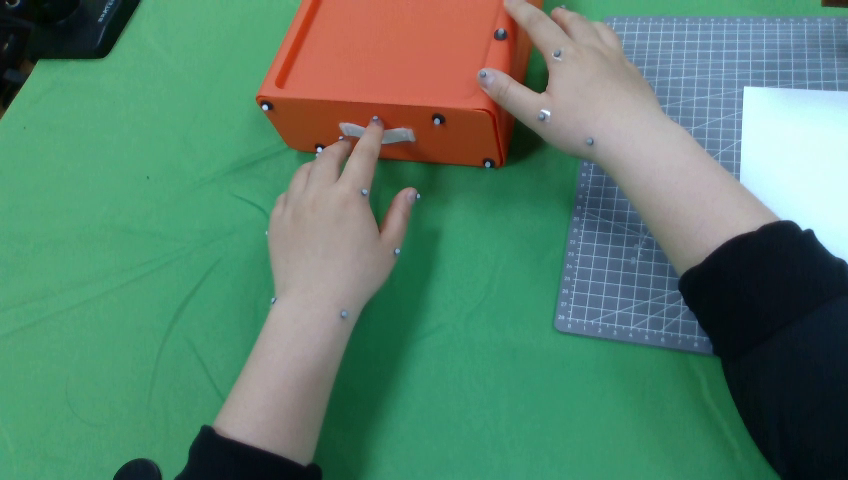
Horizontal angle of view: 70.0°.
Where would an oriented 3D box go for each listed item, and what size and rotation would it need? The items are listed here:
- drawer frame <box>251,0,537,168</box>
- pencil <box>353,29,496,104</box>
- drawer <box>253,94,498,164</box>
[{"bbox_3d":[-0.016,-0.177,0.527,0.201,0.083,0.212,6,63,18],"label":"drawer frame"},{"bbox_3d":[-0.007,-0.164,0.554,0.012,0.012,0.192,-46,56,-12],"label":"pencil"},{"bbox_3d":[-0.015,-0.174,0.528,0.194,0.074,0.210,7,63,18],"label":"drawer"}]
